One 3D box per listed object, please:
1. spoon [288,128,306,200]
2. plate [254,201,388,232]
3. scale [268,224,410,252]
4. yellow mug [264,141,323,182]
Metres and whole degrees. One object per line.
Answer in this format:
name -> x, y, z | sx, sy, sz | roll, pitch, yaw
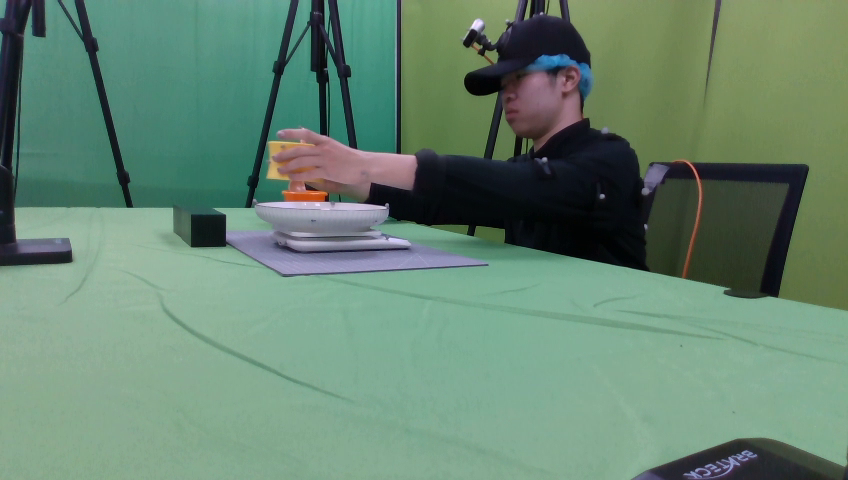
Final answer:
spoon -> -0.260, -0.162, 1.272 | 0.042, 0.193, 0.021 | 21, -36, -32
plate -> -0.162, -0.038, 0.961 | 0.209, 0.038, 0.209 | 2, 6, 0
scale -> -0.137, -0.006, 0.979 | 0.202, 0.031, 0.148 | -1, 8, -30
yellow mug -> -0.231, -0.140, 1.093 | 0.100, 0.064, 0.131 | 5, 5, 7
